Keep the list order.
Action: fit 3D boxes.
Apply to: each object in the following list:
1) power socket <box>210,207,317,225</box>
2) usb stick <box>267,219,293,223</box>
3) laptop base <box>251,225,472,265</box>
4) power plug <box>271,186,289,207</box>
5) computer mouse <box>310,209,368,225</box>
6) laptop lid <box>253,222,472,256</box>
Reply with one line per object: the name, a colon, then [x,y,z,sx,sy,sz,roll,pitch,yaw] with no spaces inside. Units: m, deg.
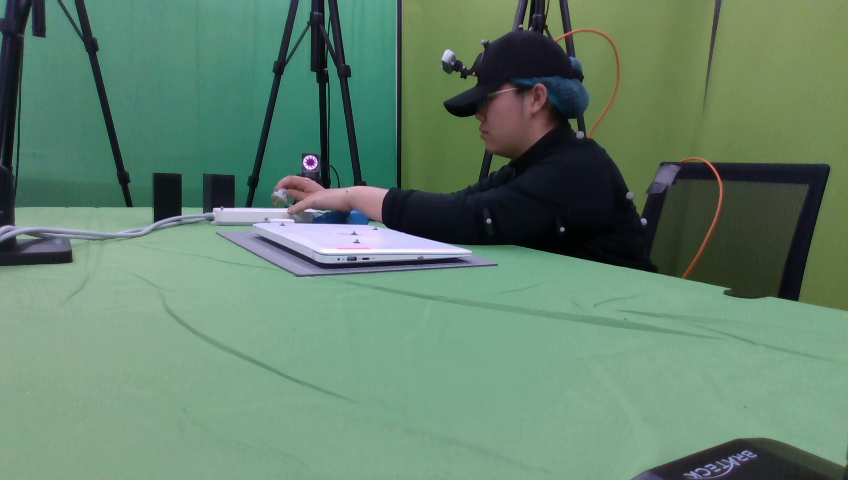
power socket: [-0.335,-0.051,1.282,0.228,0.032,0.072,-1,9,-28]
usb stick: [-0.272,-0.025,1.108,0.059,0.027,0.021,-4,11,-27]
laptop base: [-0.116,0.007,0.956,0.237,0.023,0.352,2,6,-31]
power plug: [-0.320,-0.093,1.369,0.035,0.052,0.073,21,-11,14]
computer mouse: [-0.179,-0.044,1.274,0.118,0.041,0.062,-5,11,-28]
laptop lid: [-0.113,-0.005,0.955,0.243,0.013,0.355,1,7,-29]
